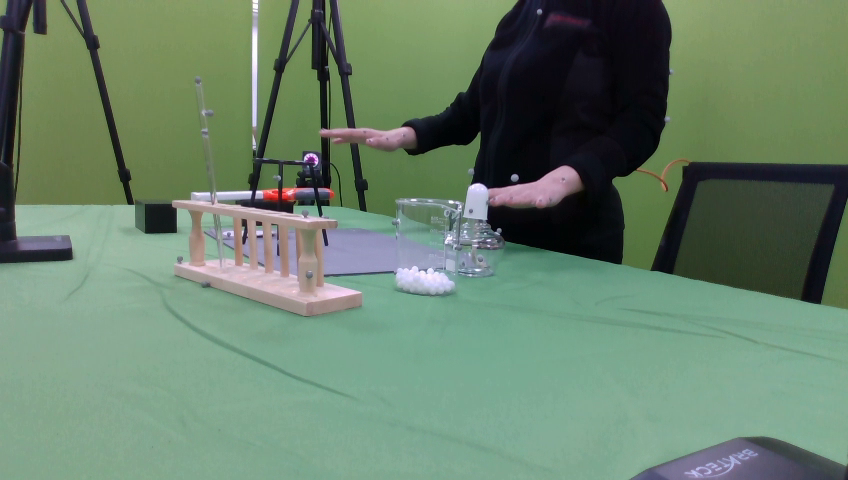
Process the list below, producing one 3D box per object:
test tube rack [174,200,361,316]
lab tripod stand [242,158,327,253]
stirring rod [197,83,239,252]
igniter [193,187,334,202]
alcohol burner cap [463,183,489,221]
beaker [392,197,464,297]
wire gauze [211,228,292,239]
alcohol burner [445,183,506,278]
[{"bbox_3d":[-0.169,0.009,0.622,0.241,0.085,0.067,9,9,41],"label":"test tube rack"},{"bbox_3d":[-0.207,-0.054,0.895,0.148,0.131,0.148,2,5,0],"label":"lab tripod stand"},{"bbox_3d":[-0.212,-0.072,0.625,0.006,0.176,0.014,-14,12,-22],"label":"stirring rod"},{"bbox_3d":[-0.316,-0.090,1.213,0.278,0.025,0.057,-5,13,-31],"label":"igniter"},{"bbox_3d":[0.067,-0.049,0.765,0.034,0.048,0.034,5,5,0],"label":"alcohol burner cap"},{"bbox_3d":[0.005,0.007,0.647,0.074,0.100,0.083,-5,11,-44],"label":"beaker"},{"bbox_3d":[-0.298,-0.013,1.039,0.122,0.011,0.124,-2,6,-27],"label":"wire gauze"},{"bbox_3d":[0.066,-0.013,0.771,0.078,0.119,0.078,0,7,0],"label":"alcohol burner"}]
